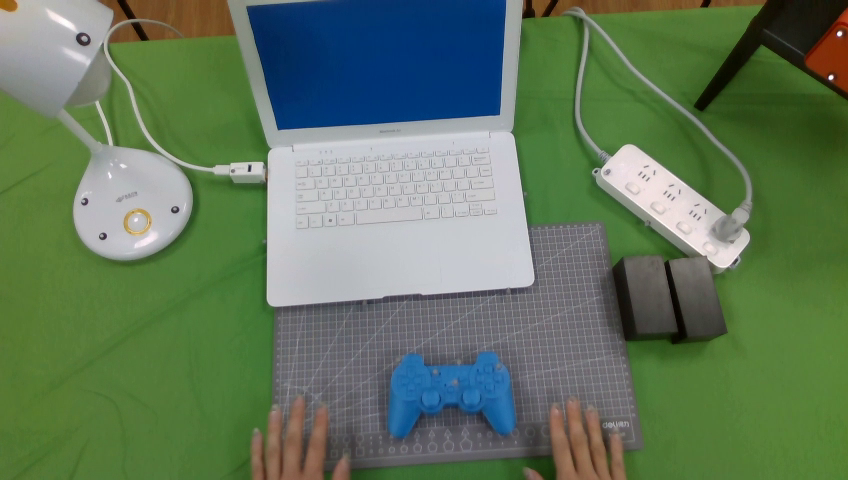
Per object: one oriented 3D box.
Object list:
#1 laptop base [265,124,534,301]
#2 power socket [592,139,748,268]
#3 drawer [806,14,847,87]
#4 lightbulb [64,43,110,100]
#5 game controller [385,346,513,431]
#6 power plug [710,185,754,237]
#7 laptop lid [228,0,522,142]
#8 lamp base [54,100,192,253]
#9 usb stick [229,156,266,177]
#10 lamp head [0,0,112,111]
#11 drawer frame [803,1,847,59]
[{"bbox_3d":[-0.039,-0.041,0.831,0.354,0.023,0.234,-4,73,-2],"label":"laptop base"},{"bbox_3d":[0.334,-0.052,0.825,0.225,0.033,0.072,42,76,14],"label":"power socket"},{"bbox_3d":[0.576,-0.230,0.672,0.193,0.074,0.211,41,75,14],"label":"drawer"},{"bbox_3d":[-0.318,-0.164,0.507,0.059,0.109,0.059,-22,48,27],"label":"lightbulb"},{"bbox_3d":[0.030,0.178,0.735,0.155,0.052,0.096,-1,66,-1],"label":"game controller"},{"bbox_3d":[0.408,-0.032,0.794,0.072,0.053,0.035,-35,73,-13],"label":"power plug"},{"bbox_3d":[-0.053,-0.233,0.786,0.357,0.244,0.013,-6,46,-1],"label":"laptop lid"},{"bbox_3d":[-0.408,-0.093,0.762,0.160,0.181,0.178,-34,71,-11],"label":"lamp base"},{"bbox_3d":[-0.238,-0.102,0.840,0.059,0.027,0.021,0,65,-3],"label":"usb stick"},{"bbox_3d":[-0.340,-0.182,0.493,0.124,0.112,0.112,29,67,-34],"label":"lamp head"},{"bbox_3d":[0.578,-0.234,0.672,0.200,0.083,0.213,40,75,13],"label":"drawer frame"}]
